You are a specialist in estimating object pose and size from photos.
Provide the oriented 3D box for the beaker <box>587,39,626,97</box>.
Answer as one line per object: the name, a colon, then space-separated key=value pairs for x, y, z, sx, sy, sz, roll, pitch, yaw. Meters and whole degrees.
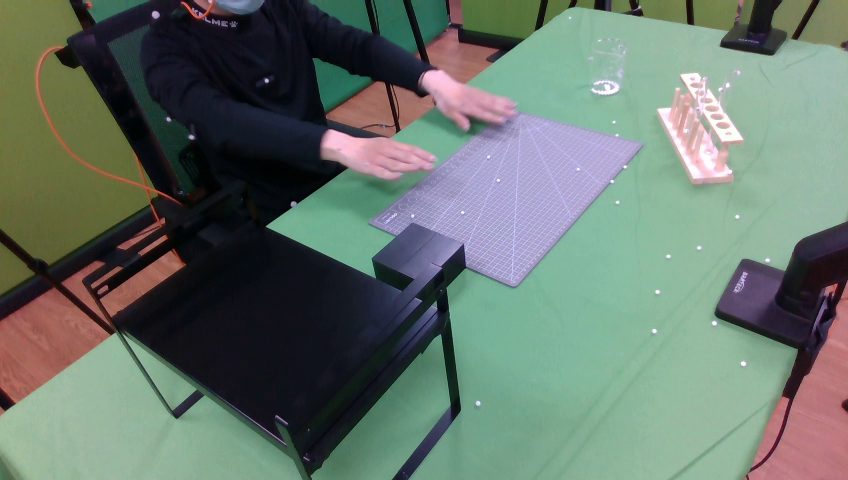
beaker: x=0.386 y=-0.361 z=1.280 sx=0.074 sy=0.101 sz=0.083 roll=-22 pitch=43 yaw=-15

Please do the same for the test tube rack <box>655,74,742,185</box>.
test tube rack: x=0.488 y=-0.205 z=1.093 sx=0.067 sy=0.085 sz=0.241 roll=-3 pitch=41 yaw=5

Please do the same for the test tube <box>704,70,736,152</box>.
test tube: x=0.501 y=-0.216 z=1.028 sx=0.017 sy=0.151 sz=0.017 roll=-2 pitch=40 yaw=2

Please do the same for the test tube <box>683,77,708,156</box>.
test tube: x=0.463 y=-0.209 z=1.032 sx=0.017 sy=0.151 sz=0.017 roll=-4 pitch=43 yaw=4
